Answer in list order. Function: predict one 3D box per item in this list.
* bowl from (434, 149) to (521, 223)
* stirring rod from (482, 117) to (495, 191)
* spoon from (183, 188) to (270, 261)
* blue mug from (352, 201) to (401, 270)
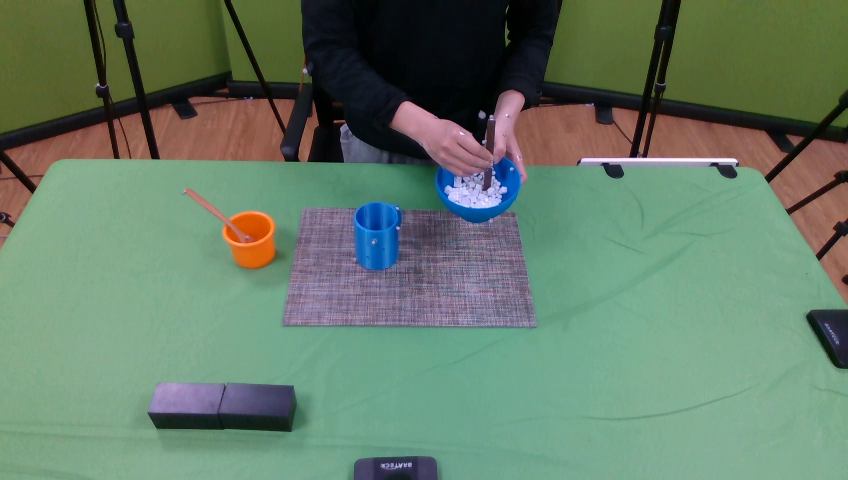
[{"bbox_3d":[0.094,-0.084,1.078,0.151,0.077,0.150,-2,49,2],"label":"bowl"},{"bbox_3d":[0.110,-0.142,1.033,0.014,0.177,0.006,3,54,4],"label":"stirring rod"},{"bbox_3d":[-0.360,-0.029,1.110,0.021,0.194,0.041,-21,30,41],"label":"spoon"},{"bbox_3d":[-0.082,-0.017,1.144,0.082,0.106,0.116,30,51,22],"label":"blue mug"}]
